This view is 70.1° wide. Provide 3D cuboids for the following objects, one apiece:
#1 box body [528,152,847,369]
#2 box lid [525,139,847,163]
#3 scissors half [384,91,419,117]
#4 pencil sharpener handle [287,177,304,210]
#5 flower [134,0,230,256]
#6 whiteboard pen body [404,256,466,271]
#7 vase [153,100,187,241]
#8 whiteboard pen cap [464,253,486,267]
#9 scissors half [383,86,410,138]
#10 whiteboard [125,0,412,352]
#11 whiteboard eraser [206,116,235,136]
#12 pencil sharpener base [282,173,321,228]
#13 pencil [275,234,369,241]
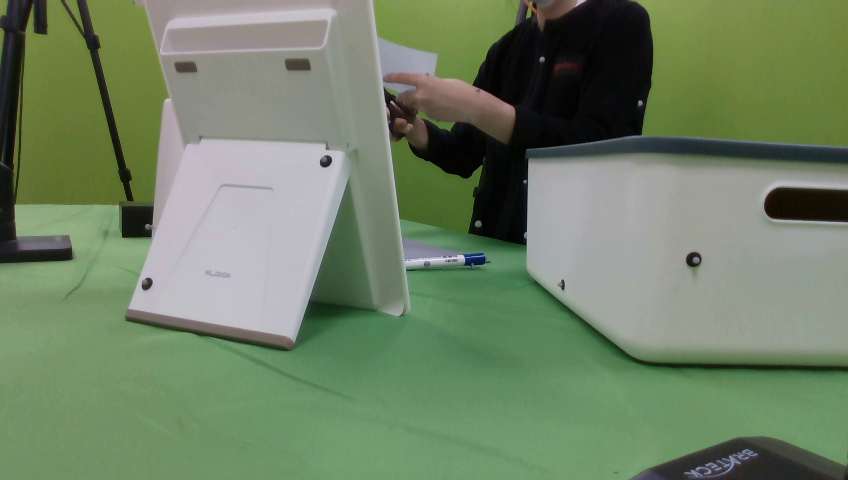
[{"bbox_3d":[0.258,-0.005,0.591,0.254,0.160,0.363,2,7,-4],"label":"box body"},{"bbox_3d":[0.261,-0.078,0.580,0.264,0.015,0.371,2,7,-4],"label":"box lid"},{"bbox_3d":[-0.056,-0.255,1.061,0.013,0.040,0.176,18,4,31],"label":"scissors half"},{"bbox_3d":[-0.269,-0.096,1.257,0.036,0.067,0.030,-8,8,-27],"label":"pencil sharpener handle"},{"bbox_3d":[-0.282,-0.147,0.713,0.038,0.362,0.044,-23,24,-31],"label":"flower"},{"bbox_3d":[0.012,0.030,0.792,0.141,0.017,0.017,-2,9,-24],"label":"whiteboard pen body"},{"bbox_3d":[-0.278,-0.066,0.736,0.098,0.200,0.098,2,9,0],"label":"vase"},{"bbox_3d":[0.066,0.027,0.818,0.033,0.018,0.018,-6,10,-24],"label":"whiteboard pen cap"},{"bbox_3d":[-0.065,-0.236,1.059,0.012,0.040,0.176,24,-19,31],"label":"scissors half"},{"bbox_3d":[-0.151,-0.049,0.472,0.216,0.305,0.144,6,27,24],"label":"whiteboard"},{"bbox_3d":[-0.450,-0.252,1.335,0.056,0.042,0.112,1,7,-22],"label":"whiteboard eraser"},{"bbox_3d":[-0.247,-0.080,1.212,0.061,0.107,0.076,-2,5,-28],"label":"pencil sharpener base"},{"bbox_3d":[-0.169,-0.006,1.036,0.195,0.012,0.012,-2,9,-45],"label":"pencil"}]
